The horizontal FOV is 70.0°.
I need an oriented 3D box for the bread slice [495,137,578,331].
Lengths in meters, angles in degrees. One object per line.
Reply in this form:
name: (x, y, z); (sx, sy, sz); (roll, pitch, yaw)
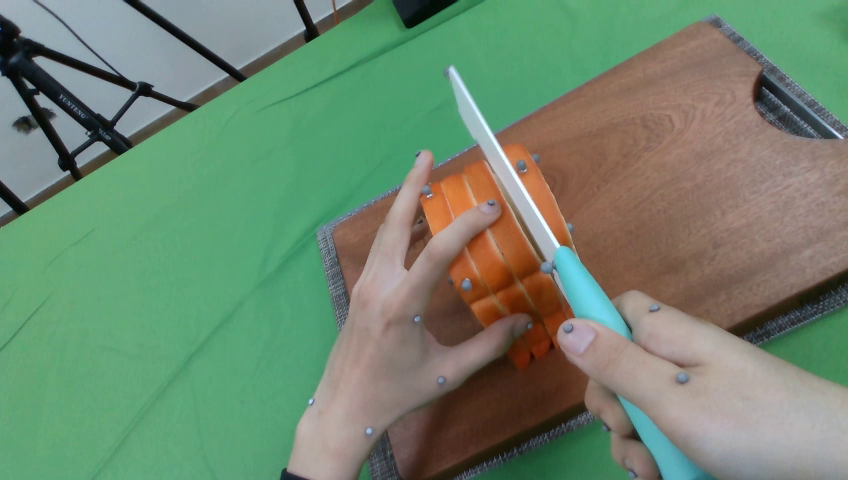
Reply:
bread slice: (0.080, -0.007, 0.418); (0.019, 0.133, 0.103); (-25, 53, 4)

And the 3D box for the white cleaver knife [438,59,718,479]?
white cleaver knife: (0.070, 0.004, 0.333); (0.021, 0.066, 0.283); (-26, 60, 4)

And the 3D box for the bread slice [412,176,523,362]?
bread slice: (0.030, 0.014, 0.428); (0.018, 0.136, 0.106); (-27, 49, 8)
